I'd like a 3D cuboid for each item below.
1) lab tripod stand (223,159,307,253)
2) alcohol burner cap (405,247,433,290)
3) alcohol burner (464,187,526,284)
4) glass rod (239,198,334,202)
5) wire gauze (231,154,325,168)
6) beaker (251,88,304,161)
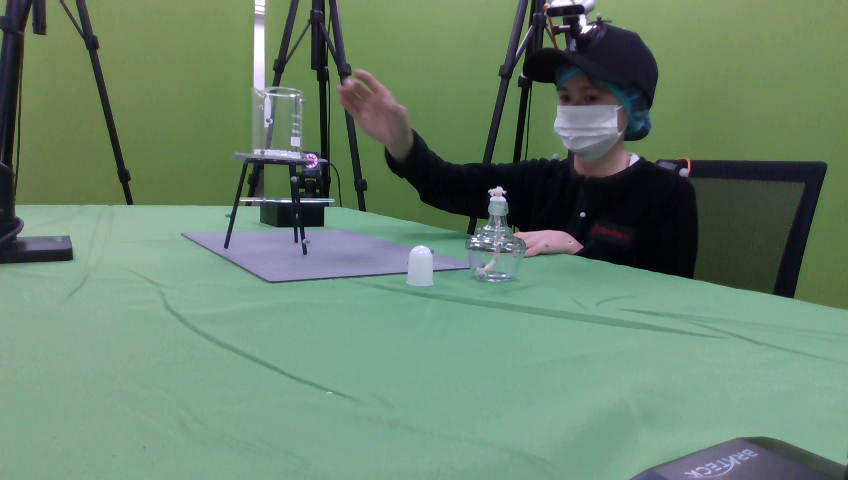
[{"bbox_3d":[-0.220,-0.053,0.896,0.148,0.131,0.148,1,6,0],"label":"lab tripod stand"},{"bbox_3d":[-0.005,0.031,0.698,0.034,0.048,0.034,2,8,0],"label":"alcohol burner cap"},{"bbox_3d":[0.089,-0.007,0.747,0.078,0.119,0.078,4,9,0],"label":"alcohol burner"},{"bbox_3d":[-0.277,-0.081,1.232,0.201,0.008,0.008,-1,8,-30],"label":"glass rod"},{"bbox_3d":[-0.215,-0.117,0.882,0.125,0.011,0.121,3,7,-19],"label":"wire gauze"},{"bbox_3d":[-0.214,-0.165,0.874,0.074,0.100,0.084,4,6,15],"label":"beaker"}]
